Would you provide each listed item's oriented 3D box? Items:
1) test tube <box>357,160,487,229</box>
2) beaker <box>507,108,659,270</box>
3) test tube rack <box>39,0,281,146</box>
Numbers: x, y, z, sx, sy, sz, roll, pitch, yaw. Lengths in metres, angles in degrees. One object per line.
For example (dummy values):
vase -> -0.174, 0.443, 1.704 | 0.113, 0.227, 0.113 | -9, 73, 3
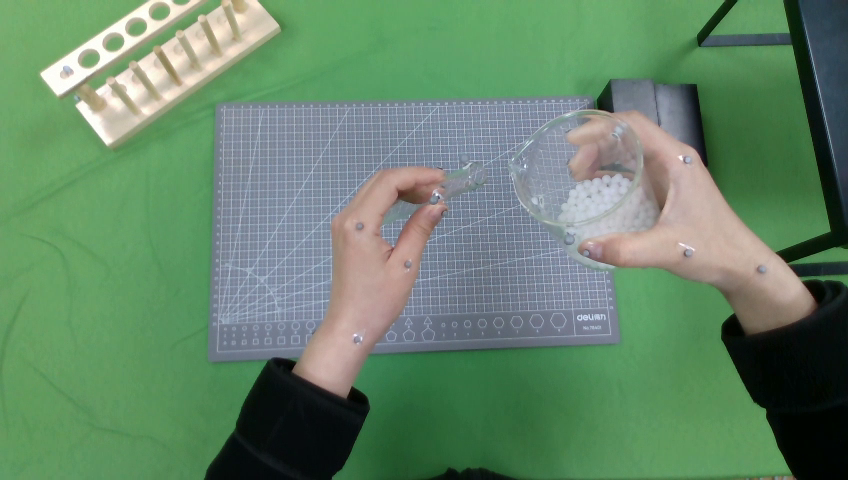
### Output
test tube -> -0.008, -0.029, 0.435 | 0.017, 0.150, 0.017 | 9, 74, -34
beaker -> 0.106, -0.027, 0.389 | 0.083, 0.101, 0.073 | 11, 76, 32
test tube rack -> -0.285, -0.216, 0.679 | 0.242, 0.085, 0.066 | -39, 82, -10
